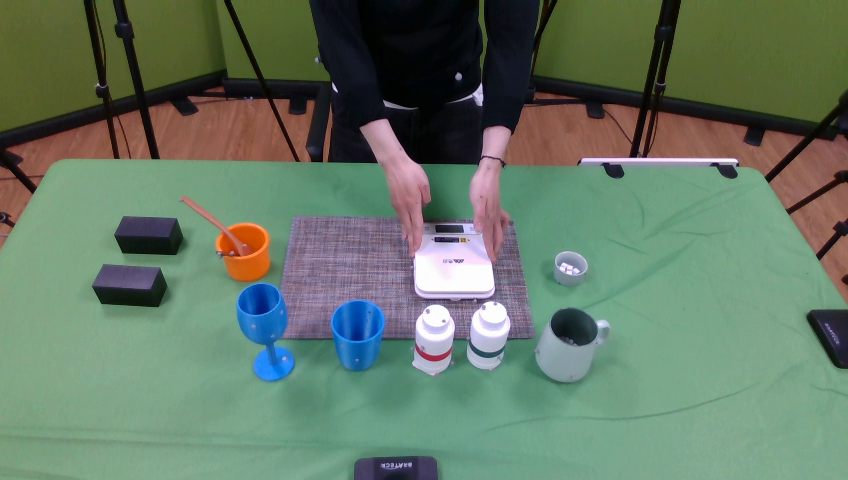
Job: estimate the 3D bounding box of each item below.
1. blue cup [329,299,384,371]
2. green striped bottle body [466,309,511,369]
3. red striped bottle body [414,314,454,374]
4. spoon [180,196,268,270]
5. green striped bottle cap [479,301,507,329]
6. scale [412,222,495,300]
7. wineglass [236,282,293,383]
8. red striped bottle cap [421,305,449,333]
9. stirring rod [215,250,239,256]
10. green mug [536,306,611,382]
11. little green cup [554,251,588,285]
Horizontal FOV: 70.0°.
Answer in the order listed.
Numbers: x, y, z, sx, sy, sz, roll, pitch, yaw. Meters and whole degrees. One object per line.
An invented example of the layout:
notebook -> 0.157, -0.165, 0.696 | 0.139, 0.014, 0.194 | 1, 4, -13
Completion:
blue cup -> -0.109, 0.160, 0.979 | 0.093, 0.101, 0.092 | 4, 45, -3
green striped bottle body -> 0.105, 0.154, 0.988 | 0.063, 0.120, 0.063 | 2, 46, -2
red striped bottle body -> 0.016, 0.158, 0.977 | 0.063, 0.120, 0.062 | 1, 46, -1
spoon -> -0.360, -0.014, 1.094 | 0.021, 0.194, 0.041 | -28, 26, 31
green striped bottle cap -> 0.109, 0.118, 0.950 | 0.044, 0.020, 0.044 | 2, 47, -2
scale -> 0.053, 0.031, 1.158 | 0.149, 0.032, 0.199 | 1, 46, -4
wineglass -> -0.243, 0.143, 0.934 | 0.074, 0.173, 0.073 | 2, 46, -2
red striped bottle cap -> 0.018, 0.122, 0.938 | 0.044, 0.018, 0.044 | 2, 44, -2
stirring rod -> -0.339, 0.024, 1.059 | 0.014, 0.176, 0.006 | 17, 86, -6
green mug -> 0.250, 0.167, 0.996 | 0.125, 0.105, 0.092 | -15, 48, -19
little green cup -> 0.277, 0.055, 1.151 | 0.061, 0.039, 0.061 | 1, 46, -1
